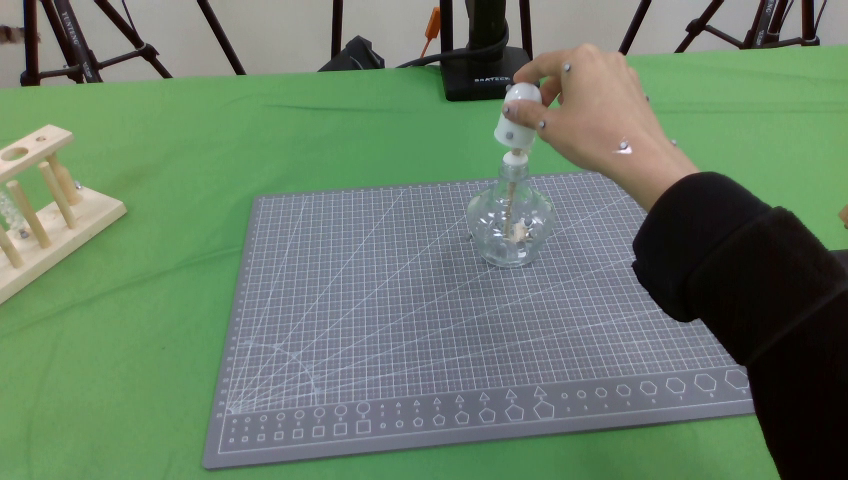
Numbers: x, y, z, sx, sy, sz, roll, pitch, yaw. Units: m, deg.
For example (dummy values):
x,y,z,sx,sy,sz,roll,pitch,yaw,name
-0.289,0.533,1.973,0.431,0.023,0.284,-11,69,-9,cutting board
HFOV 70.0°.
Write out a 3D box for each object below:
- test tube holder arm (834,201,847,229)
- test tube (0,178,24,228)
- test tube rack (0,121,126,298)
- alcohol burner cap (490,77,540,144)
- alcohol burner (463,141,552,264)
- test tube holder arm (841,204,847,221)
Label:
x,y,z,sx,sy,sz,roll,pitch,yaw,name
0.348,0.002,0.470,0.010,0.015,0.087,2,42,-7,test tube holder arm
-0.383,-0.071,0.517,0.017,0.151,0.017,-2,40,2,test tube
-0.386,-0.001,0.514,0.066,0.086,0.241,20,46,21,test tube rack
0.071,-0.099,0.458,0.034,0.048,0.033,7,42,-6,alcohol burner cap
0.072,-0.038,0.518,0.078,0.120,0.077,-1,41,1,alcohol burner
0.357,0.032,0.438,0.013,0.015,0.176,2,43,-8,test tube holder arm
